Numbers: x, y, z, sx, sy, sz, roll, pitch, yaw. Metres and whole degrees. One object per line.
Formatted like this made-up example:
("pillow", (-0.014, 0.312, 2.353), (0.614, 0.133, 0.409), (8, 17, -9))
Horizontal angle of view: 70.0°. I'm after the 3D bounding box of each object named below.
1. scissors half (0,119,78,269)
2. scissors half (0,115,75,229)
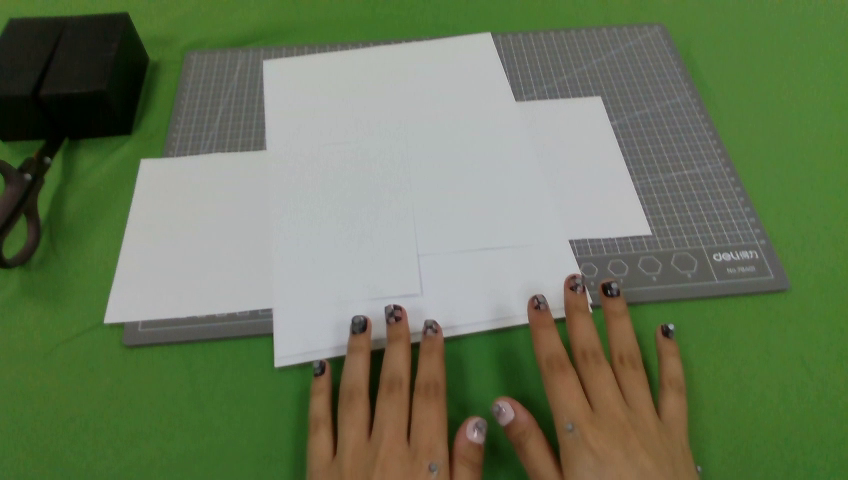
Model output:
("scissors half", (-0.290, -0.043, 0.459), (0.013, 0.040, 0.173), (-8, 46, 1))
("scissors half", (-0.292, -0.058, 0.446), (0.013, 0.040, 0.173), (-4, 32, -3))
